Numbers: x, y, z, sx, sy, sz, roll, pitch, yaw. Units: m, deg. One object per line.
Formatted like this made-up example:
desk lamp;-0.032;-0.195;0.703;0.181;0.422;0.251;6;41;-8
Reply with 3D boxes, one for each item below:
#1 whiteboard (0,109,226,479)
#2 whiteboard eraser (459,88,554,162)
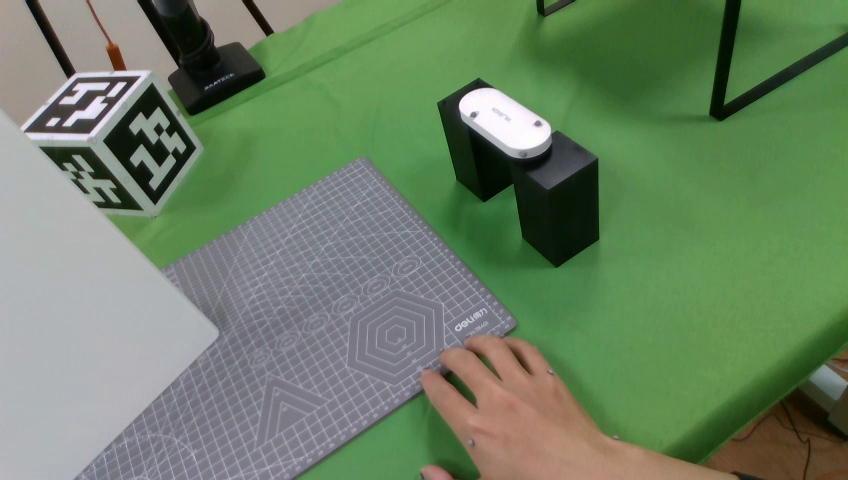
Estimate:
whiteboard;-0.365;0.045;0.501;0.142;0.308;0.216;12;53;50
whiteboard eraser;0.068;-0.100;0.515;0.041;0.019;0.100;-32;50;-14
